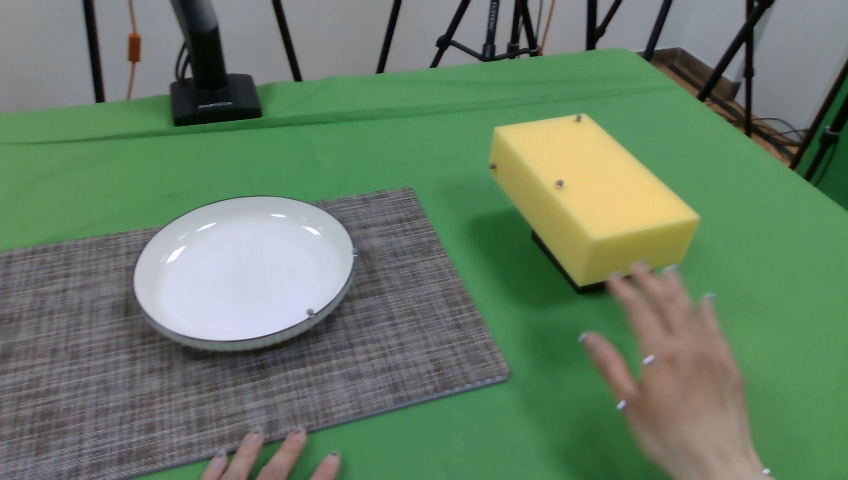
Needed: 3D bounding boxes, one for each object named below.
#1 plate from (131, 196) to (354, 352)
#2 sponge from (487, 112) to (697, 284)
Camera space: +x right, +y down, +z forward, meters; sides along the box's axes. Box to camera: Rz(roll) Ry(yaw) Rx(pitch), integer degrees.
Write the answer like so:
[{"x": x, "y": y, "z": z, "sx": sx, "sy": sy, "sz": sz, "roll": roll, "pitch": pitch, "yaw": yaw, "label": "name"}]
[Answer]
[{"x": -0.173, "y": 0.032, "z": 0.599, "sx": 0.208, "sy": 0.039, "sz": 0.205, "roll": 3, "pitch": 41, "yaw": -2, "label": "plate"}, {"x": 0.165, "y": -0.053, "z": 0.637, "sx": 0.118, "sy": 0.061, "sz": 0.204, "roll": -12, "pitch": 43, "yaw": -18, "label": "sponge"}]
